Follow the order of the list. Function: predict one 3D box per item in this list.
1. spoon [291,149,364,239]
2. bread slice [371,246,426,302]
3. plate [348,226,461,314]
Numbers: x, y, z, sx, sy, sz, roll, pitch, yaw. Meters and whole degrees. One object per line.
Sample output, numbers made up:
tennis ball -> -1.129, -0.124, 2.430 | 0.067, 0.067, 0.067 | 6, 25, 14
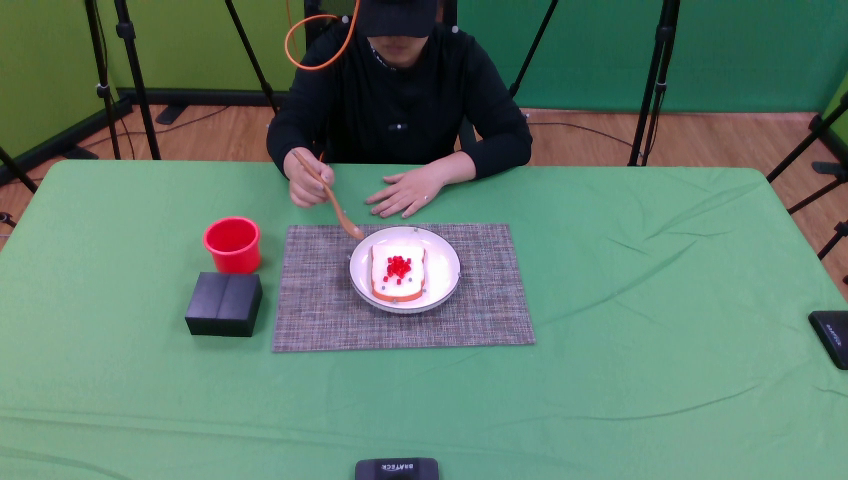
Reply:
spoon -> -0.162, -0.076, 1.028 | 0.021, 0.194, 0.041 | -26, 24, 15
bread slice -> -0.047, 0.060, 1.123 | 0.105, 0.019, 0.130 | 0, 46, -3
plate -> -0.035, 0.058, 1.123 | 0.209, 0.038, 0.208 | 2, 46, -2
